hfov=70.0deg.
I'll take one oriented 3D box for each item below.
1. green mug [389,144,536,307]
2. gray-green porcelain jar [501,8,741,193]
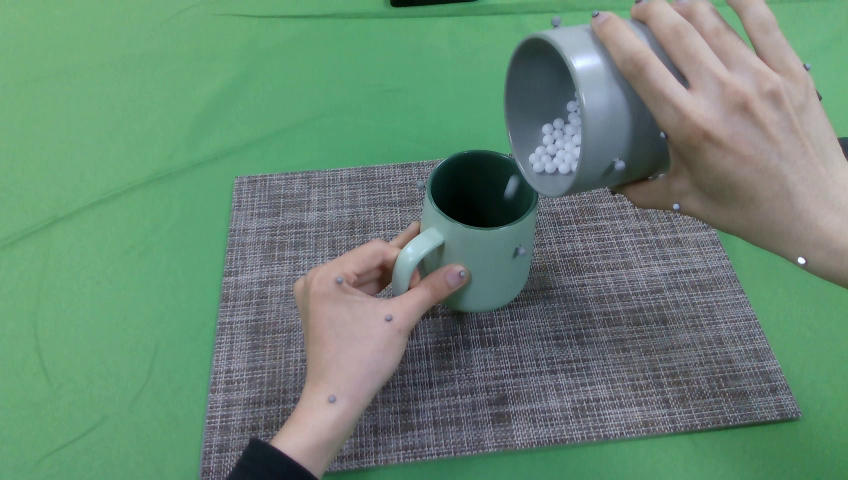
[{"bbox_3d":[0.026,0.001,0.456,0.125,0.106,0.091,-35,61,-25],"label":"green mug"},{"bbox_3d":[0.131,-0.095,0.404,0.127,0.106,0.104,-13,55,-16],"label":"gray-green porcelain jar"}]
